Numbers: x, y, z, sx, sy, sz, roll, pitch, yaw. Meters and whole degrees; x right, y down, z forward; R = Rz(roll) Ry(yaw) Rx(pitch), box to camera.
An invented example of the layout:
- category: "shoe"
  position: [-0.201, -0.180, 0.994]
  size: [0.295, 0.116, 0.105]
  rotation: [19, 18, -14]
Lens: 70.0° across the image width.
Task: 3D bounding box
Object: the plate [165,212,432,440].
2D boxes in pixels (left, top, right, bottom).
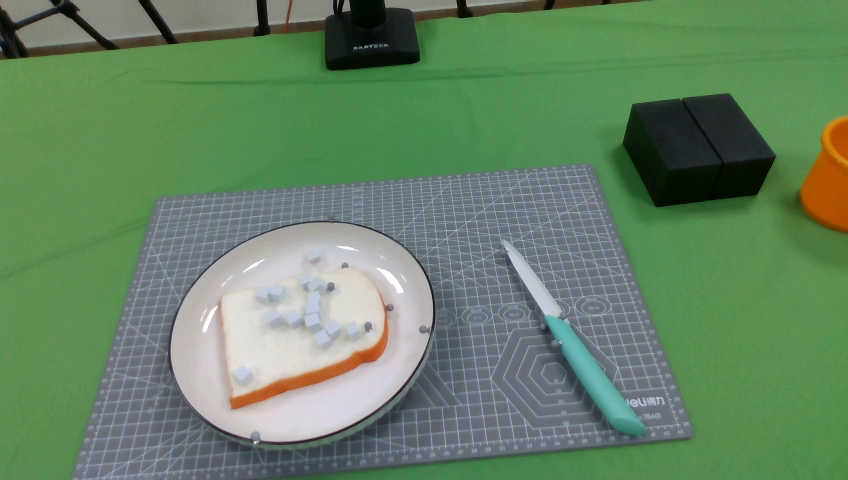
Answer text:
- category: "plate"
  position: [-0.097, 0.064, 0.489]
  size: [0.209, 0.038, 0.207]
  rotation: [-1, 50, 1]

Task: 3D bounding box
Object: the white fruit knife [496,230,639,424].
- category: "white fruit knife"
  position: [0.107, 0.062, 0.498]
  size: [0.027, 0.016, 0.205]
  rotation: [4, 40, -34]

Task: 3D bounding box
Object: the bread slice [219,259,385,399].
- category: "bread slice"
  position: [-0.099, 0.062, 0.494]
  size: [0.132, 0.019, 0.103]
  rotation: [-17, 51, -11]
